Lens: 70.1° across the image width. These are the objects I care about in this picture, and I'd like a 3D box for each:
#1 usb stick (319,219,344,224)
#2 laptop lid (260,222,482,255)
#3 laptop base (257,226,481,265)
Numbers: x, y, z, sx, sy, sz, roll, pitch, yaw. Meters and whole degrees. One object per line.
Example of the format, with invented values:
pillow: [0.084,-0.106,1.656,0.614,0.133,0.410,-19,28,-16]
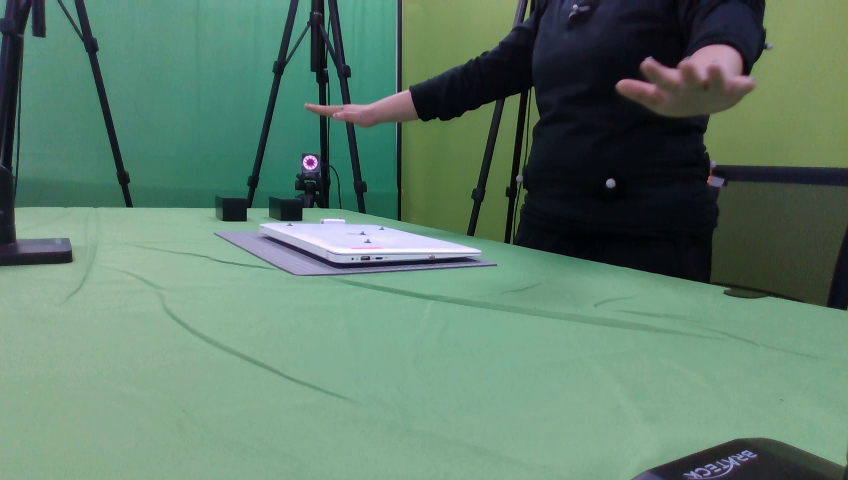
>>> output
usb stick: [-0.183,-0.027,1.153,0.059,0.027,0.021,-5,14,-30]
laptop lid: [-0.100,-0.005,0.962,0.243,0.013,0.355,1,7,-30]
laptop base: [-0.102,0.007,0.962,0.237,0.023,0.352,2,6,-32]
